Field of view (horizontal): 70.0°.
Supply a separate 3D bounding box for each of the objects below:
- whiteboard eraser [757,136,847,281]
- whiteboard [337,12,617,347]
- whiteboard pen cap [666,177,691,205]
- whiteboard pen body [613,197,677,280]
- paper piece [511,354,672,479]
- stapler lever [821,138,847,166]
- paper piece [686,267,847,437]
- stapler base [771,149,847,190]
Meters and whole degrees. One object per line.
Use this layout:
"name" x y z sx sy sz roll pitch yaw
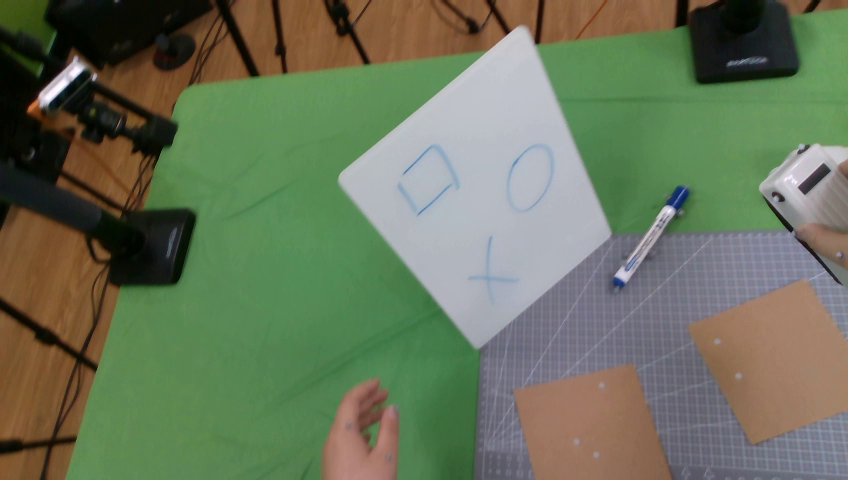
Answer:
"whiteboard eraser" 0.325 -0.025 0.488 0.055 0.042 0.112 -42 90 -1
"whiteboard" 0.048 -0.069 0.665 0.217 0.309 0.142 -39 41 -3
"whiteboard pen cap" 0.299 -0.057 0.713 0.018 0.018 0.033 31 78 26
"whiteboard pen body" 0.263 -0.012 0.704 0.017 0.017 0.140 33 79 26
"paper piece" 0.173 0.200 0.640 0.135 0.004 0.134 -15 64 9
"stapler lever" 0.460 -0.095 0.656 0.118 0.040 0.026 -7 67 13
"paper piece" 0.366 0.114 0.623 0.136 0.009 0.137 -24 64 10
"stapler base" 0.464 -0.085 0.677 0.130 0.024 0.041 -6 68 12
